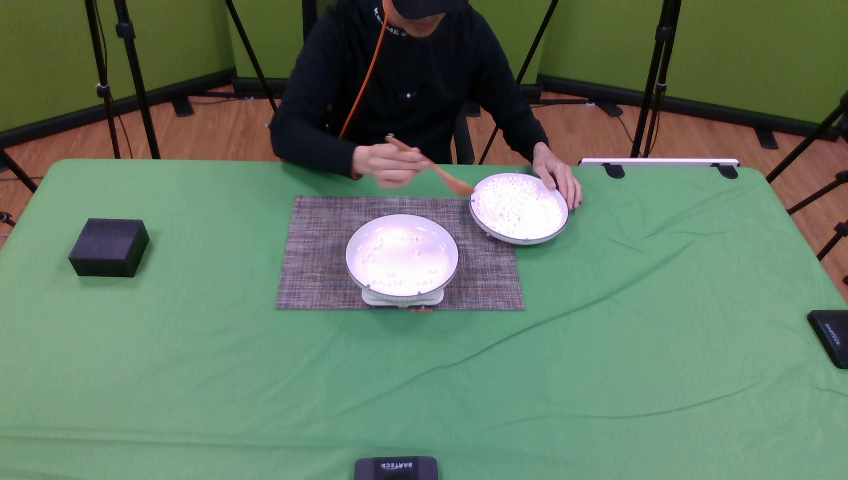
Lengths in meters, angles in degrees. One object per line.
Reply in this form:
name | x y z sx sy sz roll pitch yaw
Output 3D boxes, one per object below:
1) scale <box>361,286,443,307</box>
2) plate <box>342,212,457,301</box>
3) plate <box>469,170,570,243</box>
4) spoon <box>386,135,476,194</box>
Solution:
scale | -0.042 0.040 1.142 0.149 0.032 0.199 0 46 -4
plate | -0.044 0.033 1.105 0.208 0.039 0.206 2 46 -2
plate | 0.196 -0.066 1.258 0.209 0.038 0.208 3 46 -3
spoon | 0.013 -0.132 1.074 0.194 0.041 0.021 34 62 -20
